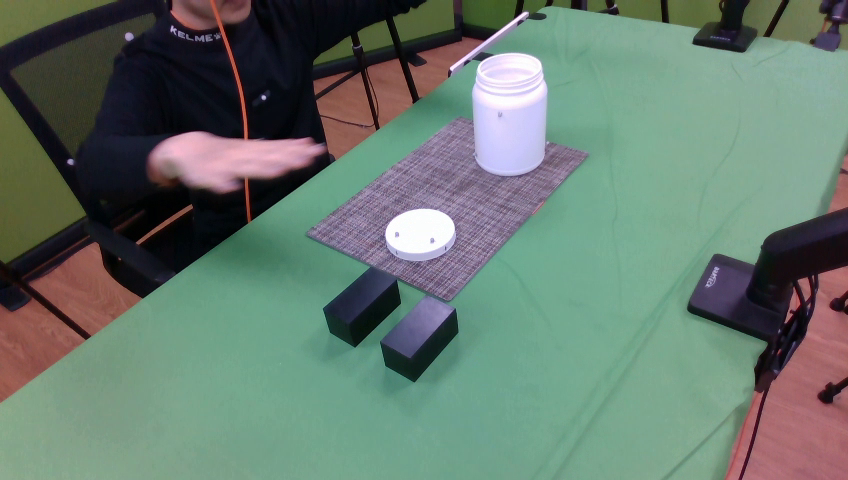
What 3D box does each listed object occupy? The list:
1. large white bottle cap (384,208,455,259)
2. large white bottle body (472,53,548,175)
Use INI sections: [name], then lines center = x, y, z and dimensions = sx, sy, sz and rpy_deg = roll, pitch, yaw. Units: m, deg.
[large white bottle cap]
center = -0.007, -0.012, 0.980
dimensions = 0.115, 0.018, 0.114
rpy_deg = -4, 40, 4
[large white bottle body]
center = 0.152, -0.224, 1.075
dimensions = 0.130, 0.185, 0.130
rpy_deg = -4, 41, 4
